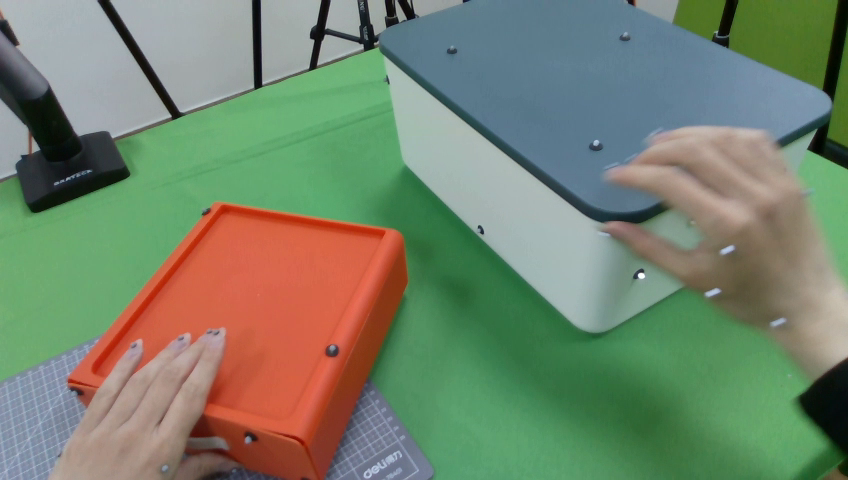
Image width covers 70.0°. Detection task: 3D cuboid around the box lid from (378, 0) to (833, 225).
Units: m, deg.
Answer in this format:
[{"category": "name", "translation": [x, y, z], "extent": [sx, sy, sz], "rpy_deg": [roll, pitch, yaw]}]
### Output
[{"category": "box lid", "translation": [0.147, -0.159, 0.571], "extent": [0.263, 0.015, 0.367], "rpy_deg": [-26, 48, -20]}]

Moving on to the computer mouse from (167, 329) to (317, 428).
[{"category": "computer mouse", "translation": [-0.150, 0.112, 0.502], "extent": [0.117, 0.041, 0.062], "rpy_deg": [14, 43, 10]}]

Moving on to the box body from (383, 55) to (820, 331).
[{"category": "box body", "translation": [0.151, -0.106, 0.625], "extent": [0.254, 0.162, 0.360], "rpy_deg": [-26, 47, -20]}]

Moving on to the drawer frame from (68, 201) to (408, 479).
[{"category": "drawer frame", "translation": [-0.142, 0.072, 0.520], "extent": [0.201, 0.083, 0.212], "rpy_deg": [8, 44, 14]}]

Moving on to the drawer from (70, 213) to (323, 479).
[{"category": "drawer", "translation": [-0.142, 0.076, 0.519], "extent": [0.194, 0.074, 0.210], "rpy_deg": [8, 44, 15]}]
